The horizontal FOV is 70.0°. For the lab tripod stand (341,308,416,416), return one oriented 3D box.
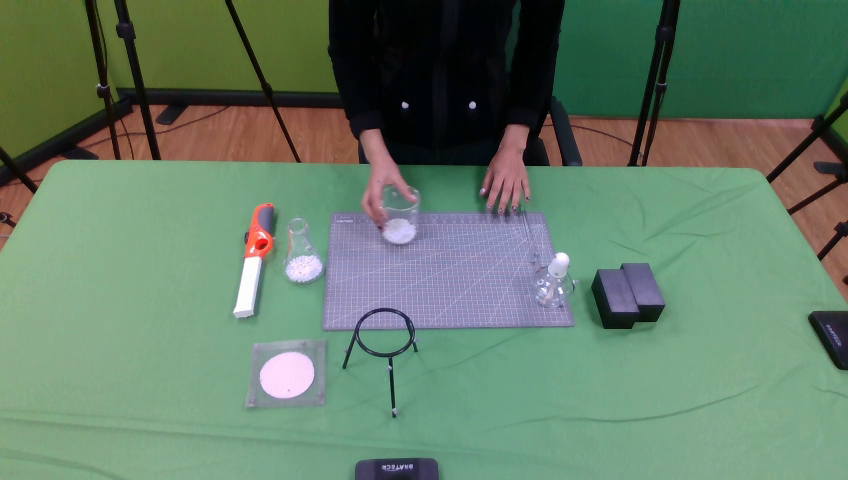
[{"bbox_3d":[-0.061,0.177,0.946,0.148,0.132,0.147,2,44,-2],"label":"lab tripod stand"}]

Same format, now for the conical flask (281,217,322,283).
[{"bbox_3d":[-0.226,0.016,1.097,0.075,0.122,0.075,2,46,-2],"label":"conical flask"}]

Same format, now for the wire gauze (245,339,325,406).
[{"bbox_3d":[-0.224,0.214,0.984,0.125,0.011,0.120,-2,46,-5],"label":"wire gauze"}]

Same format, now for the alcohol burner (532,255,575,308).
[{"bbox_3d":[0.235,0.066,1.087,0.078,0.119,0.077,4,45,-3],"label":"alcohol burner"}]

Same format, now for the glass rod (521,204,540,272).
[{"bbox_3d":[0.215,-0.008,1.230,0.008,0.008,0.198,0,43,-3],"label":"glass rod"}]

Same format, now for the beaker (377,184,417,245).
[{"bbox_3d":[-0.056,-0.045,1.173,0.084,0.101,0.073,-27,53,-28],"label":"beaker"}]

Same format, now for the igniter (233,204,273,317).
[{"bbox_3d":[-0.321,0.029,1.142,0.057,0.025,0.274,-8,46,4],"label":"igniter"}]

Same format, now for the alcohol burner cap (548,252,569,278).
[{"bbox_3d":[0.238,0.042,1.060,0.034,0.048,0.033,1,53,-1],"label":"alcohol burner cap"}]
